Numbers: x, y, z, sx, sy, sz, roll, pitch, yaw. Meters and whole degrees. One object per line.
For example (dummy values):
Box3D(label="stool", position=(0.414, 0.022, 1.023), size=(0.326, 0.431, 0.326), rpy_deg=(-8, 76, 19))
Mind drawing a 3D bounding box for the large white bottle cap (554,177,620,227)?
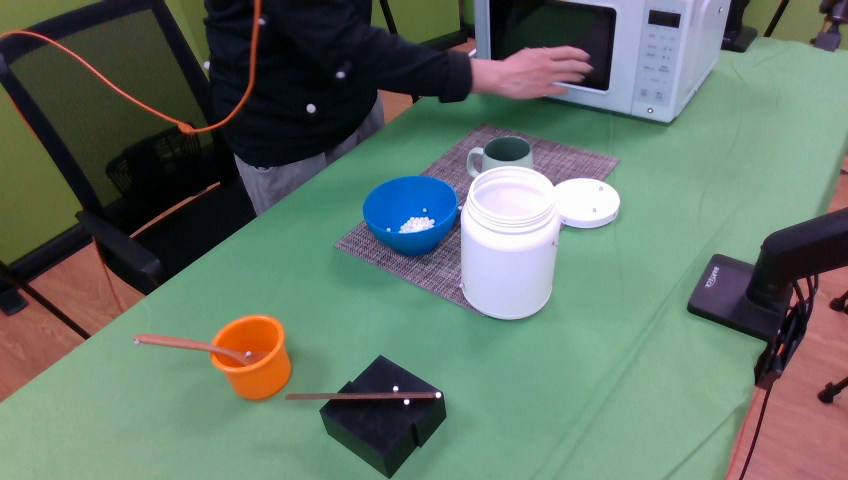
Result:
Box3D(label="large white bottle cap", position=(0.265, -0.064, 1.000), size=(0.115, 0.018, 0.114), rpy_deg=(-1, 43, 2))

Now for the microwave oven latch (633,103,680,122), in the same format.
Box3D(label="microwave oven latch", position=(0.443, -0.249, 1.157), size=(0.078, 0.029, 0.030), rpy_deg=(21, 48, 30))

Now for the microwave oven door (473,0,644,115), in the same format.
Box3D(label="microwave oven door", position=(0.257, -0.396, 1.199), size=(0.353, 0.245, 0.039), rpy_deg=(21, 48, 29))

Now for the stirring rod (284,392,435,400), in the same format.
Box3D(label="stirring rod", position=(-0.075, 0.180, 0.697), size=(0.176, 0.006, 0.014), rpy_deg=(-2, 6, 6))

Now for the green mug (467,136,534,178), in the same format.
Box3D(label="green mug", position=(0.126, -0.114, 1.014), size=(0.124, 0.105, 0.093), rpy_deg=(21, 49, 30))

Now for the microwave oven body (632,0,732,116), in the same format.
Box3D(label="microwave oven body", position=(0.377, -0.463, 1.267), size=(0.438, 0.261, 0.327), rpy_deg=(21, 48, 30))

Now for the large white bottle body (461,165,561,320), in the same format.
Box3D(label="large white bottle body", position=(0.115, 0.004, 0.815), size=(0.130, 0.185, 0.130), rpy_deg=(-2, 43, 2))

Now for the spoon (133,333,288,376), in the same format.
Box3D(label="spoon", position=(-0.257, 0.137, 0.747), size=(0.021, 0.195, 0.041), rpy_deg=(-47, 40, 23))

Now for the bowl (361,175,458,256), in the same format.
Box3D(label="bowl", position=(-0.019, -0.028, 0.955), size=(0.151, 0.077, 0.150), rpy_deg=(-4, 40, 4))
